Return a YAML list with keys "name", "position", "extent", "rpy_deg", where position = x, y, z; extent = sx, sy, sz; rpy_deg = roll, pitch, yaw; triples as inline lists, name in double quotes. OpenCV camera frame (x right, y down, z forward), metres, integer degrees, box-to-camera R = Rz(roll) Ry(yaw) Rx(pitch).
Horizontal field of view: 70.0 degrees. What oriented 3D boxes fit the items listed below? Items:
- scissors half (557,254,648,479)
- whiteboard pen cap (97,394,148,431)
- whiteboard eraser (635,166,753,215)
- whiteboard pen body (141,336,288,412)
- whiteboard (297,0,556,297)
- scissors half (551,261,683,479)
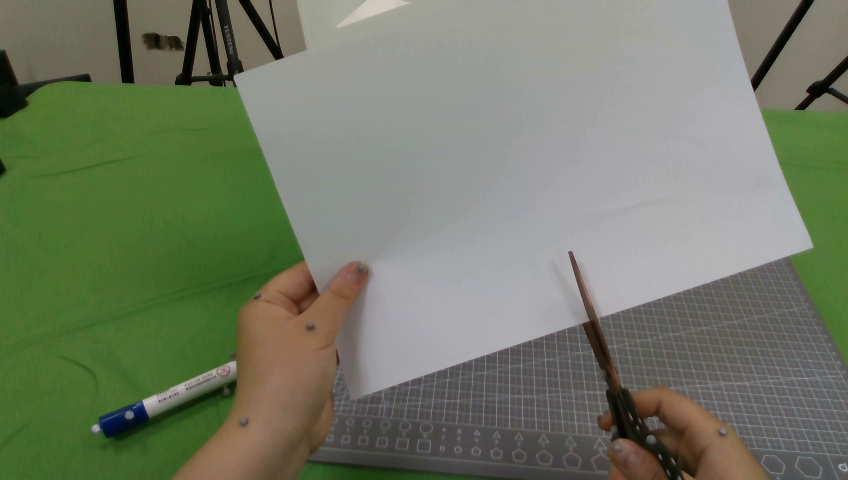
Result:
- name: "scissors half"
  position: [0.113, 0.090, 0.370]
  extent: [0.013, 0.175, 0.040]
  rpy_deg: [-22, 4, -5]
- name: "whiteboard pen cap"
  position: [-0.224, 0.128, 0.454]
  extent: [0.033, 0.018, 0.018]
  rpy_deg: [-23, 44, -27]
- name: "whiteboard eraser"
  position: [0.296, -0.054, 0.668]
  extent: [0.113, 0.042, 0.055]
  rpy_deg: [2, 41, 1]
- name: "whiteboard pen body"
  position: [-0.176, 0.109, 0.480]
  extent: [0.141, 0.017, 0.017]
  rpy_deg: [-22, 44, -27]
- name: "whiteboard"
  position: [-0.008, -0.133, 0.605]
  extent: [0.218, 0.307, 0.142]
  rpy_deg: [-15, 21, -17]
- name: "scissors half"
  position: [0.111, 0.084, 0.347]
  extent: [0.013, 0.040, 0.173]
  rpy_deg: [-22, 60, 0]
